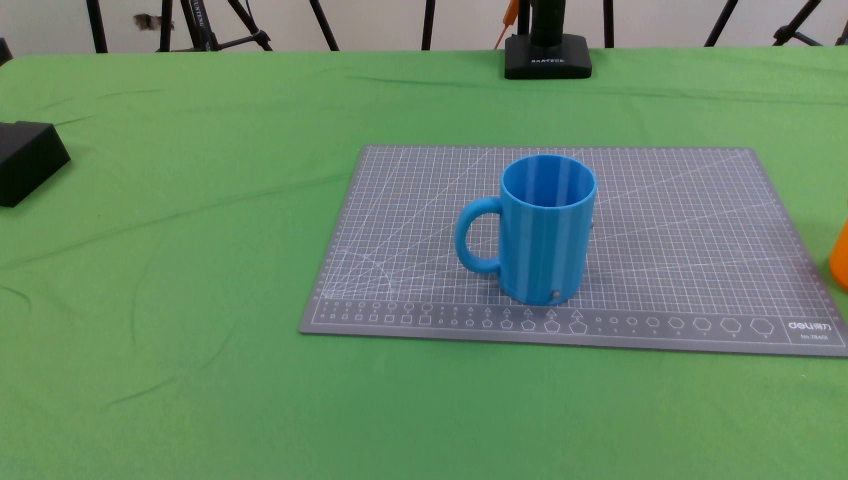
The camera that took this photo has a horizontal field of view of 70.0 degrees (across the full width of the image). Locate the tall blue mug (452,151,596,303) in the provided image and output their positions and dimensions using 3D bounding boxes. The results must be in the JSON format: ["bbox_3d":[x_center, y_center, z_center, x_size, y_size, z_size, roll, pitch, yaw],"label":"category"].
[{"bbox_3d":[0.086,-0.004,0.508,0.107,0.109,0.077,-25,46,-22],"label":"tall blue mug"}]

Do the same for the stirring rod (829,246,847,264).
[{"bbox_3d":[0.418,-0.019,0.481,0.176,0.006,0.014,-31,29,38],"label":"stirring rod"}]
